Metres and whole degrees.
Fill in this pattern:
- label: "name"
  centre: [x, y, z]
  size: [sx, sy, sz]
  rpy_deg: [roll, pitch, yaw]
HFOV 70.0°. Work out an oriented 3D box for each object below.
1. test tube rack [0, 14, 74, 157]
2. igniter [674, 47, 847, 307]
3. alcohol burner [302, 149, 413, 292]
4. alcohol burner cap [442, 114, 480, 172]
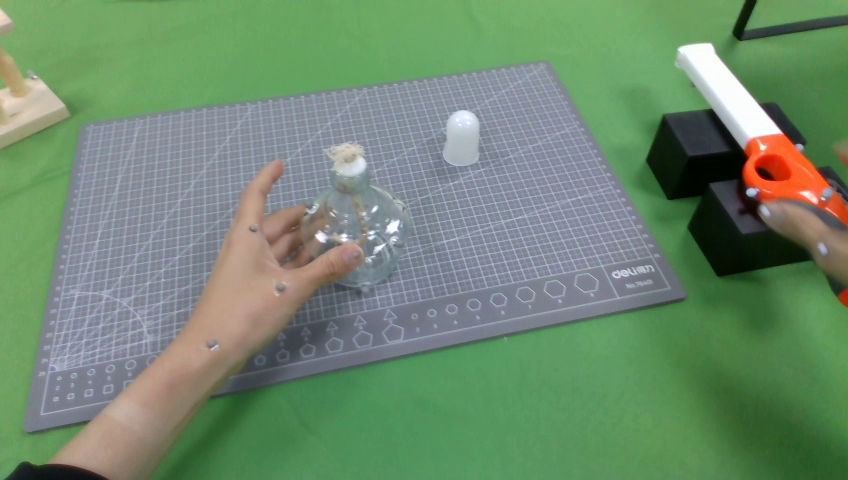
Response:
- label: "test tube rack"
  centre: [-0.436, -0.090, 0.495]
  size: [0.242, 0.086, 0.066]
  rpy_deg: [-37, 59, -26]
- label: "igniter"
  centre: [0.256, -0.062, 0.450]
  size: [0.057, 0.025, 0.273]
  rpy_deg: [-9, 49, -3]
- label: "alcohol burner"
  centre: [-0.046, -0.017, 0.415]
  size: [0.078, 0.120, 0.077]
  rpy_deg: [1, 51, -1]
- label: "alcohol burner cap"
  centre: [0.033, -0.085, 0.517]
  size: [0.034, 0.048, 0.033]
  rpy_deg: [1, 50, -1]
